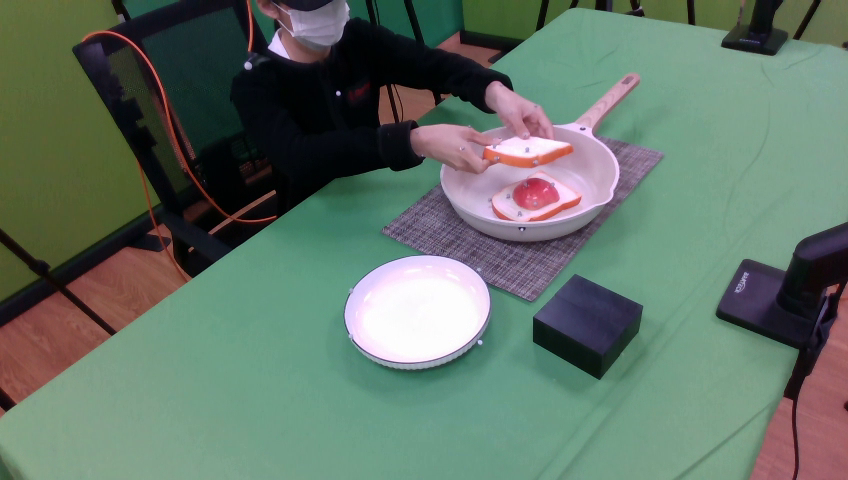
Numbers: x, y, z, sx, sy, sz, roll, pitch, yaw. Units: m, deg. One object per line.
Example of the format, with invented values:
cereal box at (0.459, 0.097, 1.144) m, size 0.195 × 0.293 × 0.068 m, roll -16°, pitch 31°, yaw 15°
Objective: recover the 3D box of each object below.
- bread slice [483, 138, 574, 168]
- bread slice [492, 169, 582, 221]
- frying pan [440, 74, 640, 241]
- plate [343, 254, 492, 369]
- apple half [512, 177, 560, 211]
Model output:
bread slice at (0.160, -0.138, 0.951) m, size 0.104 × 0.019 × 0.132 m, roll 20°, pitch 27°, yaw 36°
bread slice at (0.183, -0.067, 1.016) m, size 0.135 × 0.018 × 0.106 m, roll -29°, pitch 44°, yaw -23°
frying pan at (0.245, -0.161, 1.058) m, size 0.304 × 0.103 × 0.489 m, roll 30°, pitch 61°, yaw 35°
plate at (-0.008, 0.100, 0.847) m, size 0.207 × 0.039 × 0.206 m, roll -4°, pitch 40°, yaw 4°
apple half at (0.184, -0.085, 1.002) m, size 0.081 × 0.033 × 0.081 m, roll -2°, pitch 40°, yaw 2°
